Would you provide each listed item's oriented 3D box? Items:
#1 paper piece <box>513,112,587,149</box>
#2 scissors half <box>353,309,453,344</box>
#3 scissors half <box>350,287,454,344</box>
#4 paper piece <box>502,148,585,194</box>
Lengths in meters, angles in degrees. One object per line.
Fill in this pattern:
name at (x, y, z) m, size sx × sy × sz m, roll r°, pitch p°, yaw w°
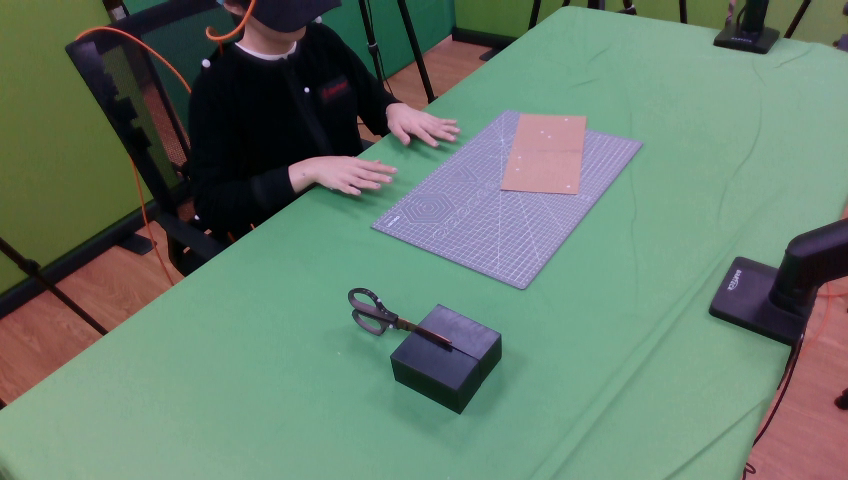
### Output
paper piece at (0.252, -0.215, 1.196) m, size 0.135 × 0.004 × 0.135 m, roll 6°, pitch 42°, yaw 14°
scissors half at (-0.030, 0.119, 0.806) m, size 0.174 × 0.040 × 0.013 m, roll 6°, pitch 34°, yaw 40°
scissors half at (-0.032, 0.101, 0.796) m, size 0.174 × 0.040 × 0.013 m, roll 23°, pitch 39°, yaw 29°
paper piece at (0.219, -0.128, 1.101) m, size 0.135 × 0.009 × 0.138 m, roll 2°, pitch 42°, yaw 17°
